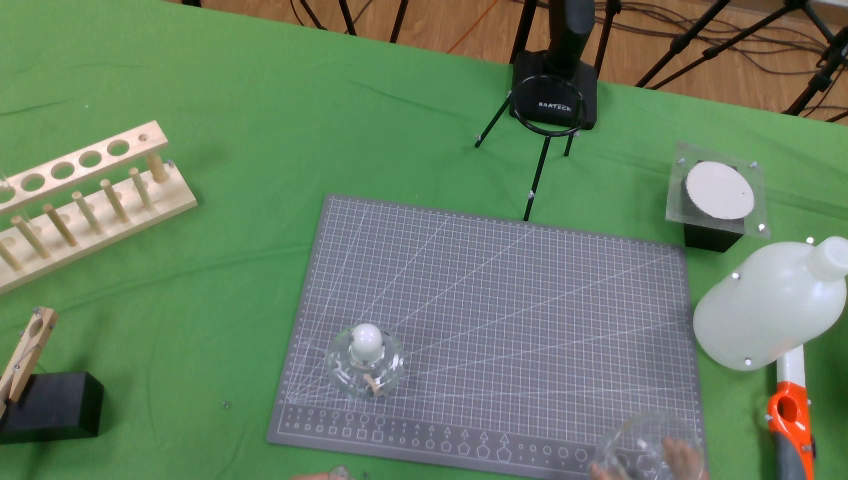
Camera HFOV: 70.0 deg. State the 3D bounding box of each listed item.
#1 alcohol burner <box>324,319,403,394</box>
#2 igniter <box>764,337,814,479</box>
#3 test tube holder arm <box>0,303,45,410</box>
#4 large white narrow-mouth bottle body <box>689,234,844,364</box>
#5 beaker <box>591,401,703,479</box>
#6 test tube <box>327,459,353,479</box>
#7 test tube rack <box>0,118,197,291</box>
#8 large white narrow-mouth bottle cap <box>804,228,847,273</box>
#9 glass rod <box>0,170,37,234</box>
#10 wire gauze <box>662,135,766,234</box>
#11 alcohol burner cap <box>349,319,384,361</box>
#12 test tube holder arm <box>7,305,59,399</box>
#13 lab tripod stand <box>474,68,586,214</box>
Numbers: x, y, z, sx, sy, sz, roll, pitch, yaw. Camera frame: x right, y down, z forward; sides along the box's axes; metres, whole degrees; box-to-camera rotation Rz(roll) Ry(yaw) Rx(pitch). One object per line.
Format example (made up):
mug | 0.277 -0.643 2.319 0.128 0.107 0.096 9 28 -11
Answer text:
alcohol burner | -0.058 0.107 0.590 0.078 0.120 0.077 4 60 -7
igniter | 0.400 0.163 0.666 0.057 0.025 0.274 22 60 -9
test tube holder arm | -0.376 0.139 0.536 0.013 0.015 0.177 11 60 0
large white narrow-mouth bottle body | 0.362 0.053 0.627 0.102 0.196 0.101 3 60 -4
beaker | 0.196 0.194 0.556 0.084 0.101 0.073 4 65 3
test tube | -0.059 0.207 0.476 0.017 0.151 0.017 0 50 0
test tube rack | -0.381 -0.035 0.648 0.242 0.086 0.066 -29 68 -21
large white narrow-mouth bottle cap | 0.370 0.009 0.553 0.038 0.024 0.037 3 60 -5
glass rod | -0.414 -0.068 0.586 0.008 0.201 0.008 5 51 -6
wire gauze | 0.357 -0.069 0.745 0.121 0.011 0.124 15 60 2
alcohol burner cap | -0.054 0.091 0.557 0.034 0.048 0.033 1 66 -1
test tube holder arm | -0.363 0.102 0.559 0.010 0.015 0.087 11 60 0
lab tripod stand | 0.134 -0.126 0.734 0.149 0.132 0.147 4 62 -6
